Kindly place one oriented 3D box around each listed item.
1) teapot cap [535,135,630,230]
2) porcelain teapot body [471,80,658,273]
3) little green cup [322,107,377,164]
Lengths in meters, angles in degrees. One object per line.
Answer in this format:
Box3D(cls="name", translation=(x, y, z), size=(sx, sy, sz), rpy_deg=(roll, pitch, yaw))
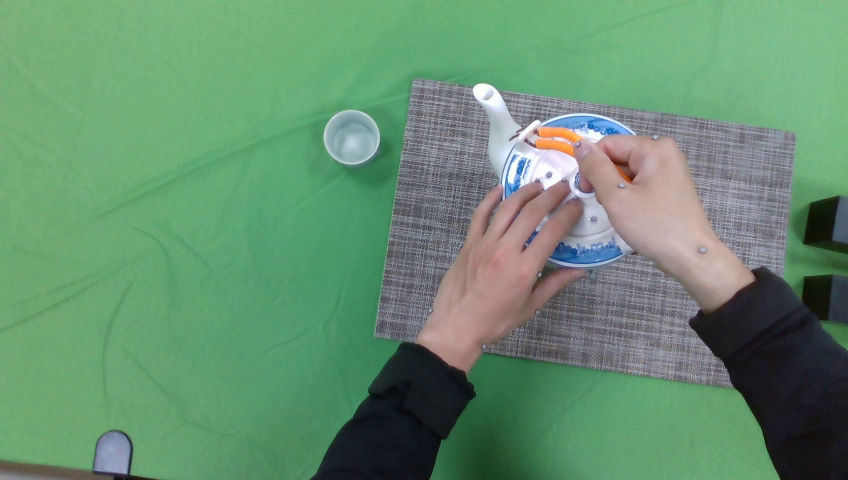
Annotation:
Box3D(cls="teapot cap", translation=(0.139, -0.052, 0.531), size=(0.085, 0.044, 0.085), rpy_deg=(-1, 82, 5))
Box3D(cls="porcelain teapot body", translation=(0.119, -0.065, 0.574), size=(0.205, 0.226, 0.145), rpy_deg=(42, 89, 7))
Box3D(cls="little green cup", translation=(-0.081, -0.115, 0.681), size=(0.061, 0.039, 0.061), rpy_deg=(0, 84, 0))
